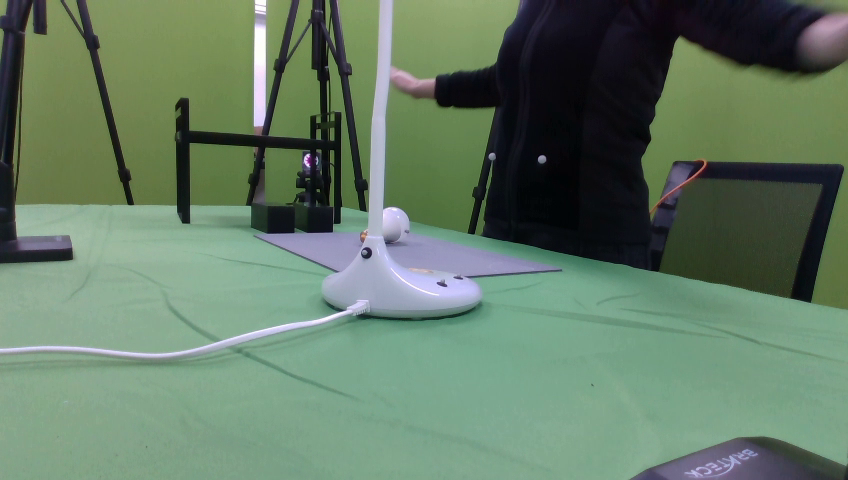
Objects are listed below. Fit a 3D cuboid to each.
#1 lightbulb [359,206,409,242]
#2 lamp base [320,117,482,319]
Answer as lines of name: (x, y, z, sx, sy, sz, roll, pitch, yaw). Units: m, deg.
lightbulb: (-0.069, -0.020, 1.006, 0.059, 0.059, 0.108, 8, 25, 35)
lamp base: (-0.023, -0.025, 0.579, 0.160, 0.180, 0.179, 4, 10, 16)
